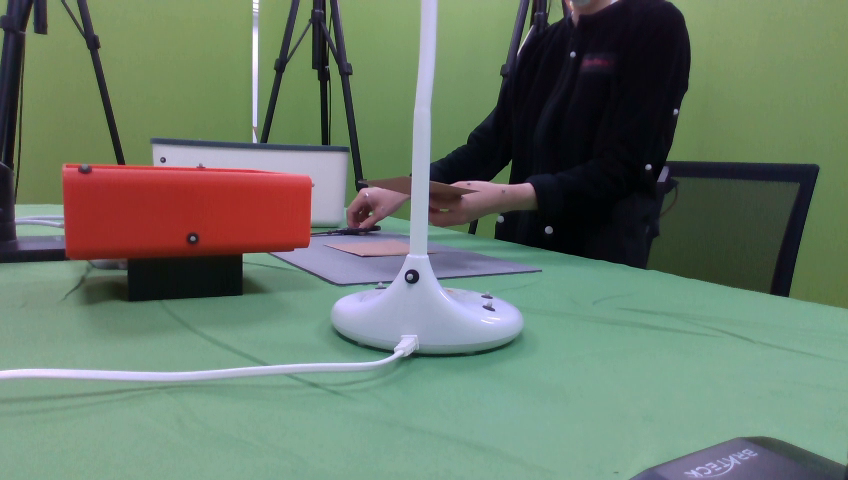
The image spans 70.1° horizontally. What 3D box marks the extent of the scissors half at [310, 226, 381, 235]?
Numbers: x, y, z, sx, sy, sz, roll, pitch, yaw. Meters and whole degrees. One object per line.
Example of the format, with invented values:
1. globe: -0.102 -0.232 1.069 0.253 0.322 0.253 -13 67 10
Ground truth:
1. scissors half: -0.153 -0.015 1.079 0.176 0.013 0.040 -6 2 -33

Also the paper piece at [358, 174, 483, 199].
1. paper piece: -0.007 -0.078 0.893 0.139 0.008 0.135 10 -3 -33

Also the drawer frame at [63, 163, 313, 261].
1. drawer frame: -0.248 -0.036 0.626 0.215 0.082 0.200 -3 9 -31

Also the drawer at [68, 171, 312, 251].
1. drawer: -0.247 -0.036 0.629 0.213 0.073 0.193 -3 9 -30

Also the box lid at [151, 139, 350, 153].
1. box lid: -0.352 -0.191 1.256 0.373 0.015 0.262 0 8 -18

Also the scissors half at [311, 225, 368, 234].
1. scissors half: -0.166 -0.016 1.094 0.040 0.013 0.176 4 7 40

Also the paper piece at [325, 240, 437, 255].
1. paper piece: -0.068 0.011 0.936 0.136 0.004 0.134 -2 9 -33

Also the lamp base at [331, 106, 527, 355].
1. lamp base: 0.006 -0.012 0.478 0.161 0.180 0.179 2 10 2

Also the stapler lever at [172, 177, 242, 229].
1. stapler lever: -0.218 -0.041 0.618 0.027 0.040 0.118 18 11 -2

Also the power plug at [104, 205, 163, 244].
1. power plug: -0.390 -0.021 0.815 0.073 0.052 0.035 -1 7 -27

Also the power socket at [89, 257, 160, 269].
1. power socket: -0.409 0.004 0.793 0.072 0.032 0.225 -2 8 -38

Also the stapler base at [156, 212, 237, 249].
1. stapler base: -0.227 -0.017 0.624 0.041 0.024 0.130 18 10 -2

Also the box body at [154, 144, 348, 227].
1. box body: -0.357 -0.119 1.264 0.365 0.160 0.253 0 7 -18
